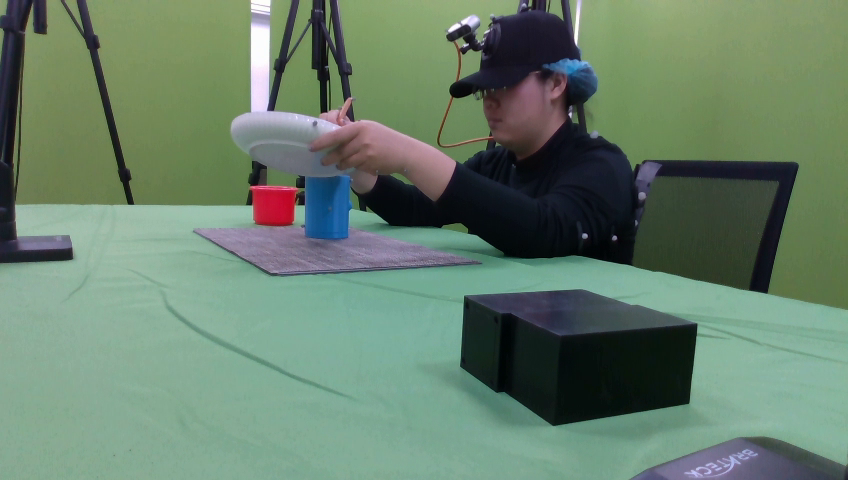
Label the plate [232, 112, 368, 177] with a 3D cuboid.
[{"bbox_3d":[-0.192,-0.138,0.939,0.208,0.039,0.208,6,-12,2],"label":"plate"}]

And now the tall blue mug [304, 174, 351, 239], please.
[{"bbox_3d":[-0.178,-0.062,1.062,0.078,0.108,0.106,-5,11,-38],"label":"tall blue mug"}]

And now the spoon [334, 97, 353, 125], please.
[{"bbox_3d":[-0.166,-0.190,1.059,0.041,0.022,0.194,-15,36,39],"label":"spoon"}]
